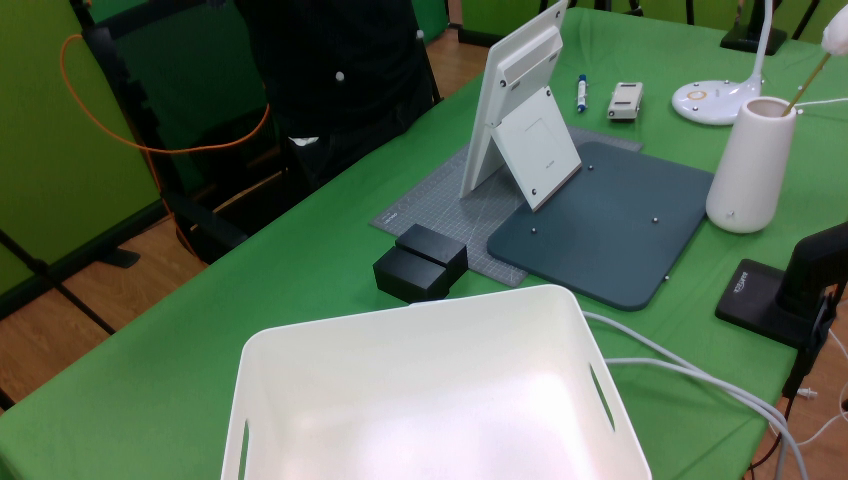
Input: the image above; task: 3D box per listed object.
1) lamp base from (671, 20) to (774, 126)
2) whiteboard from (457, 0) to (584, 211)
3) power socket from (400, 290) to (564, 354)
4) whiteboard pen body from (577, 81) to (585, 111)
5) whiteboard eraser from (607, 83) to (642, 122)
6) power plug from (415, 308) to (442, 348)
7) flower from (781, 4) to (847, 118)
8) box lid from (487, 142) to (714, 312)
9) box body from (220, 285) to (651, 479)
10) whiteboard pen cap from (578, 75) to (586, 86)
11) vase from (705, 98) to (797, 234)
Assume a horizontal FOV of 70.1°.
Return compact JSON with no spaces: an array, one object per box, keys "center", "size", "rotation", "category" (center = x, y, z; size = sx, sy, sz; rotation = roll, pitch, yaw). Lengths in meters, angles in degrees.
[{"center":[0.581,-0.332,1.154],"size":[0.179,0.181,0.160],"rotation":[2,41,7],"category":"lamp base"},{"center":[0.193,-0.191,0.983],"size":[0.143,0.306,0.218],"rotation":[36,55,21],"category":"whiteboard"},{"center":[0.079,0.111,0.823],"size":[0.227,0.033,0.072],"rotation":[-6,41,1],"category":"power socket"},{"center":[0.335,-0.314,1.292],"size":[0.017,0.017,0.140],"rotation":[3,40,12],"category":"whiteboard pen body"},{"center":[0.406,-0.277,1.222],"size":[0.055,0.042,0.112],"rotation":[9,43,22],"category":"whiteboard eraser"},{"center":[0.004,0.121,0.786],"size":[0.035,0.053,0.072],"rotation":[1,45,8],"category":"power plug"},{"center":[0.480,-0.157,0.823],"size":[0.044,0.362,0.038],"rotation":[-8,56,-9],"category":"flower"},{"center":[0.298,-0.041,0.986],"size":[0.261,0.015,0.372],"rotation":[23,49,30],"category":"box lid"},{"center":[0.005,0.211,0.616],"size":[0.364,0.161,0.252],"rotation":[-9,40,-2],"category":"box body"},{"center":[0.349,-0.351,1.334],"size":[0.018,0.018,0.033],"rotation":[3,39,12],"category":"whiteboard pen cap"},{"center":[0.480,-0.104,0.888],"size":[0.098,0.201,0.097],"rotation":[-4,42,4],"category":"vase"}]
